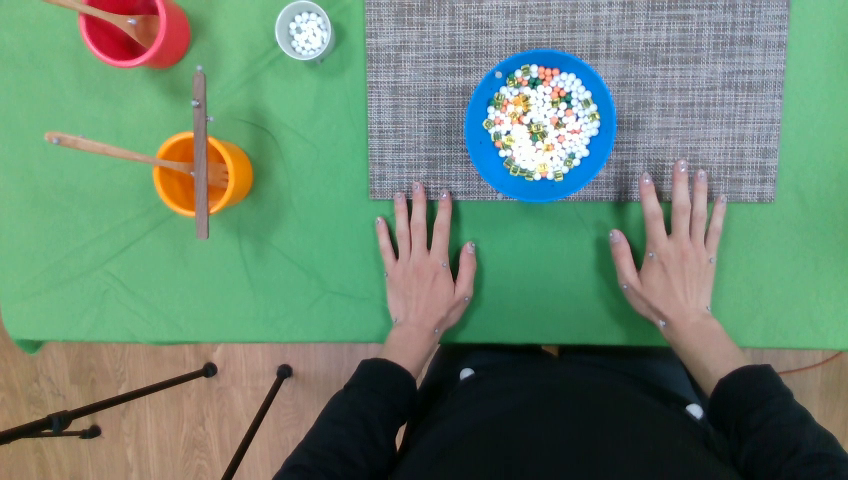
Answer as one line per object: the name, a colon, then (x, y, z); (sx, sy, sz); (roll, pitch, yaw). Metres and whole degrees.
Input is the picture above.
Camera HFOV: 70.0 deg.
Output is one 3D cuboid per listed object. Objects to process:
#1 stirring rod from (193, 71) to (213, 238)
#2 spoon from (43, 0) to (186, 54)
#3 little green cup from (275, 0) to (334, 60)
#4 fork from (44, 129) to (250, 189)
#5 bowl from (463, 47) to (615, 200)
stirring rod: (-0.235, -0.089, 0.645); (0.014, 0.006, 0.176); (2, 99, 7)
spoon: (-0.352, -0.243, 0.638); (0.195, 0.021, 0.041); (11, 101, -40)
little green cup: (-0.129, -0.229, 0.670); (0.061, 0.038, 0.061); (1, 99, 6)
fork: (-0.288, -0.087, 0.653); (0.209, 0.018, 0.028); (11, 106, -40)
bowl: (0.118, -0.120, 0.639); (0.151, 0.076, 0.151); (1, 99, 6)
